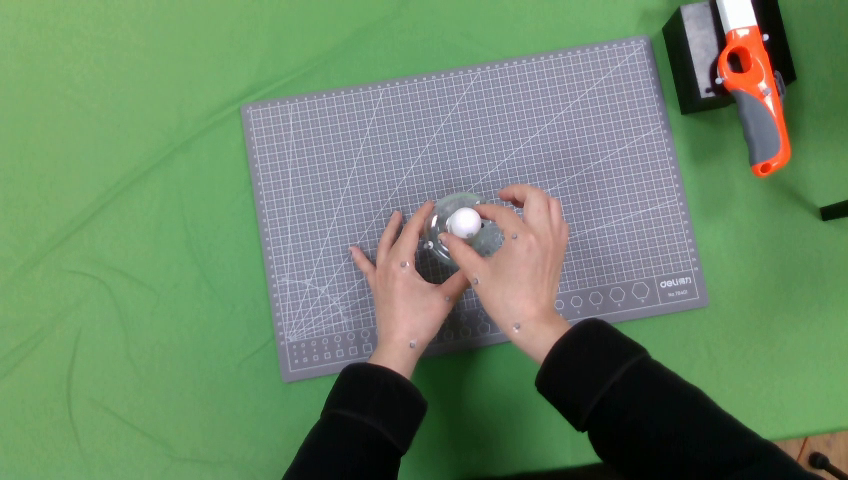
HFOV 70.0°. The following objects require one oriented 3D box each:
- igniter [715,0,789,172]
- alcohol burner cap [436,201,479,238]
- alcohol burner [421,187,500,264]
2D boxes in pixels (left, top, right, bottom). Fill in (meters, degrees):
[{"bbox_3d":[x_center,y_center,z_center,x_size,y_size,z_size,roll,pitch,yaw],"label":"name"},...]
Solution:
[{"bbox_3d":[0.314,-0.202,0.601,0.057,0.025,0.275,-9,82,1],"label":"igniter"},{"bbox_3d":[0.033,-0.020,0.552,0.034,0.048,0.034,1,85,-18],"label":"alcohol burner cap"},{"bbox_3d":[0.036,-0.016,0.584,0.078,0.119,0.077,0,86,2],"label":"alcohol burner"}]
